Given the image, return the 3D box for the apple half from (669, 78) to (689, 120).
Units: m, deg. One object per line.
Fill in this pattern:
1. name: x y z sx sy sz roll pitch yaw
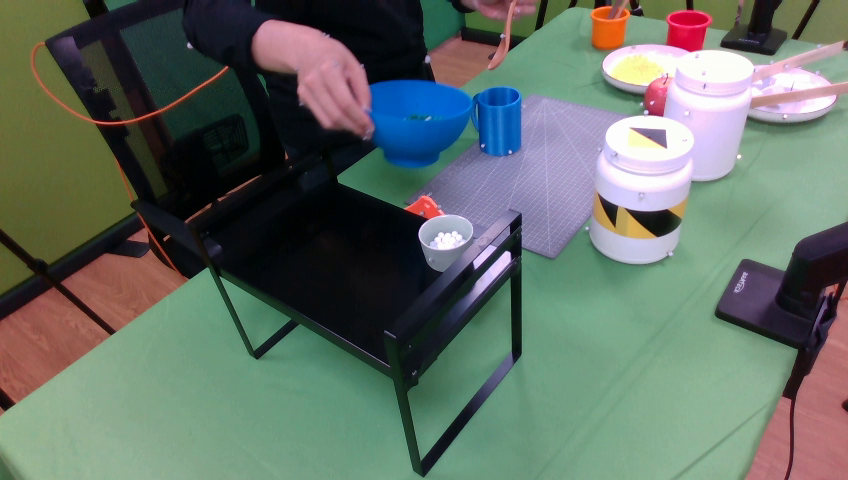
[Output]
1. apple half: 0.498 -0.273 1.180 0.032 0.082 0.081 7 42 25

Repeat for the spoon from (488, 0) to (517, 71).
1. spoon: 0.144 -0.369 0.985 0.022 0.193 0.041 14 12 -14

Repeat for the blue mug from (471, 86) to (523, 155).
1. blue mug: 0.135 -0.235 1.163 0.082 0.106 0.115 -36 48 -28

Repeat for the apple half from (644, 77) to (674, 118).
1. apple half: 0.463 -0.279 1.194 0.053 0.075 0.081 8 46 25

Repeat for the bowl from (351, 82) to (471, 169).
1. bowl: -0.017 -0.142 0.777 0.151 0.077 0.150 3 32 -1

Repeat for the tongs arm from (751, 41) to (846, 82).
1. tongs arm: 0.708 -0.331 1.194 0.386 0.026 0.050 -18 46 -16

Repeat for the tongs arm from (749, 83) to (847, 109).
1. tongs arm: 0.734 -0.279 1.134 0.388 0.028 0.028 -9 47 -5

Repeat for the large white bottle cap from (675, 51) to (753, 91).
1. large white bottle cap: 0.463 -0.271 0.967 0.115 0.018 0.114 -4 40 3

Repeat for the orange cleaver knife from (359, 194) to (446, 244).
1. orange cleaver knife: -0.032 -0.026 0.965 0.210 0.077 0.012 -9 29 51

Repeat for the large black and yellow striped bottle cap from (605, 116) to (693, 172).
1. large black and yellow striped bottle cap: 0.309 -0.134 0.833 0.115 0.019 0.114 -5 40 5

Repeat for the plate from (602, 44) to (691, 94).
1. plate: 0.494 -0.367 1.317 0.209 0.038 0.208 -4 40 4

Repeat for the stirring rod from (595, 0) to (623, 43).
1. stirring rod: 0.460 -0.556 1.460 0.014 0.006 0.176 30 93 23

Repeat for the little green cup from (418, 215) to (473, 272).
1. little green cup: 0.026 0.005 0.678 0.061 0.039 0.061 -4 40 4

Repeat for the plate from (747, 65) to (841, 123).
1. plate: 0.695 -0.283 1.189 0.207 0.039 0.206 -4 40 4

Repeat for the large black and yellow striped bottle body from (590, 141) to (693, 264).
1. large black and yellow striped bottle body: 0.317 -0.071 0.889 0.131 0.185 0.130 -4 41 4

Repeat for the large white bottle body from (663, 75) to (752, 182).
1. large white bottle body: 0.472 -0.207 1.022 0.130 0.185 0.130 -4 41 4

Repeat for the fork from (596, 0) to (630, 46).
1. fork: 0.481 -0.556 1.453 0.028 0.019 0.207 40 103 40
